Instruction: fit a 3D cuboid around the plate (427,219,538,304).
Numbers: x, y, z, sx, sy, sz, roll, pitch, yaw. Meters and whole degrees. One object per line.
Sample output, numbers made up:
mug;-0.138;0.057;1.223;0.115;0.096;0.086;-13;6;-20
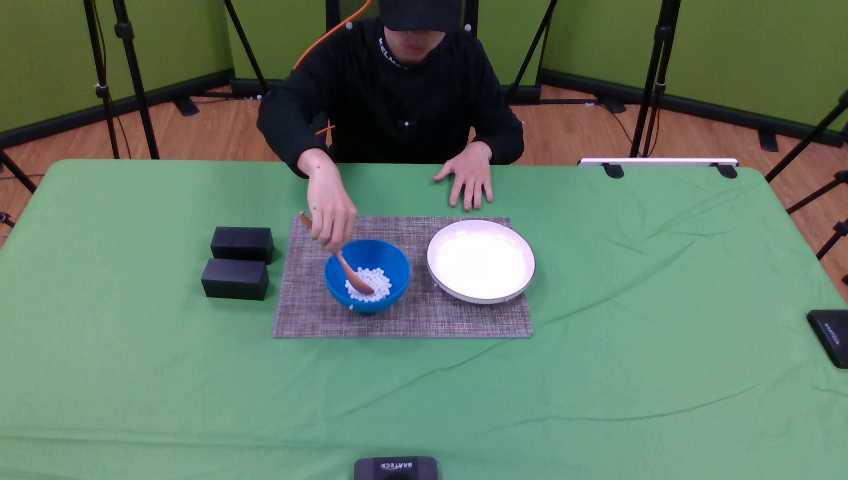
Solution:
plate;0.109;0.044;1.149;0.208;0.039;0.206;2;46;-2

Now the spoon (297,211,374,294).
spoon;-0.152;0.024;1.038;0.021;0.041;0.194;-46;106;-32

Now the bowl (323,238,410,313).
bowl;-0.101;0.077;1.073;0.151;0.077;0.150;2;46;-2
